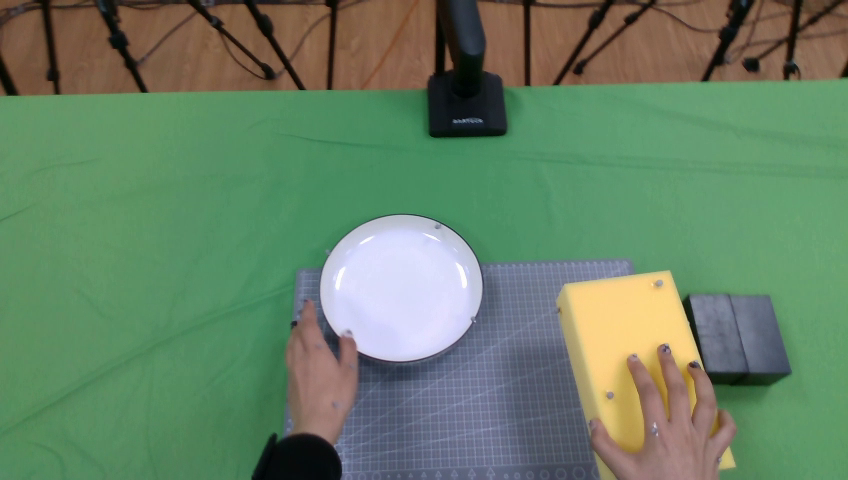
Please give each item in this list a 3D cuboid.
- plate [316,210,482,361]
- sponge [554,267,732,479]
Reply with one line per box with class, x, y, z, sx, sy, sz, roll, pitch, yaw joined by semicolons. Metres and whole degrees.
plate;-0.031;0.058;0.773;0.209;0.038;0.207;1;61;-1
sponge;0.223;0.139;0.643;0.118;0.061;0.205;-9;65;-3
